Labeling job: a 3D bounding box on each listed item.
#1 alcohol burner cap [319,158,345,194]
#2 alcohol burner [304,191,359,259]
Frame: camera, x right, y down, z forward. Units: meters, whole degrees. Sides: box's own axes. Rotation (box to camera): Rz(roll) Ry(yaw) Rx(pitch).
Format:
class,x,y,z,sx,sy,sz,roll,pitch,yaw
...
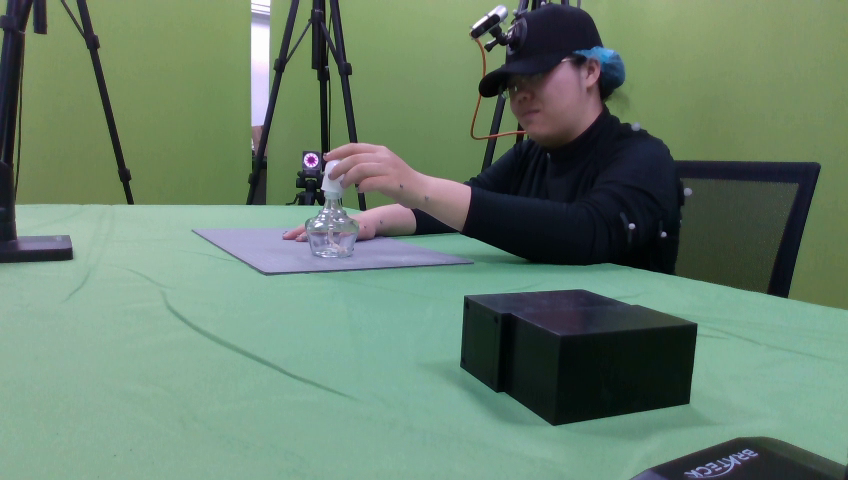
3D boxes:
class,x,y,z,sx,sy,sz,roll,pitch,yaw
alcohol burner cap,-0.127,-0.090,0.845,0.034,0.048,0.034,9,9,-1
alcohol burner,-0.130,-0.034,0.851,0.078,0.119,0.078,2,5,0
